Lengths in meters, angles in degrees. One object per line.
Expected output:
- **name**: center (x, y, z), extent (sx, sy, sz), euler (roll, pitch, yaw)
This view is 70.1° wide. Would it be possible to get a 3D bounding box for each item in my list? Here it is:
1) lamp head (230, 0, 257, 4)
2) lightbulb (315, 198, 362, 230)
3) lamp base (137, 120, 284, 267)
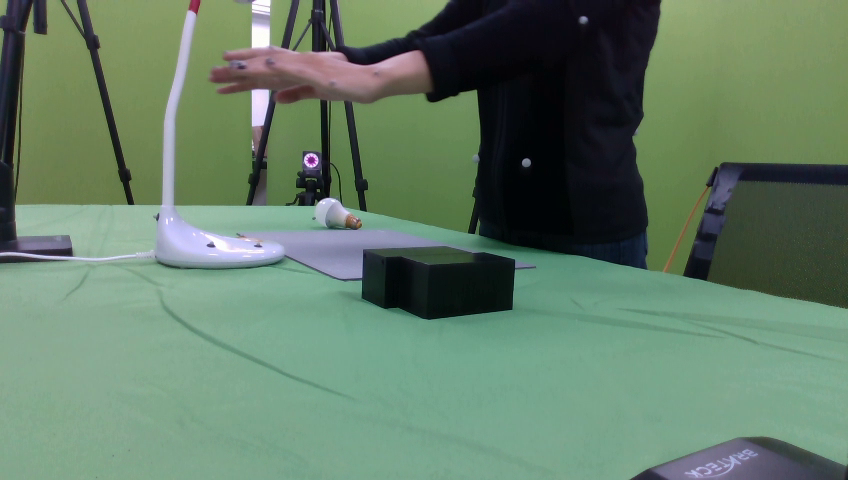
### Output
- **lamp head**: center (-0.257, -0.377, 0.773), extent (0.112, 0.112, 0.123), euler (5, -2, 26)
- **lightbulb**: center (-0.171, -0.048, 1.219), extent (0.107, 0.059, 0.060), euler (22, 15, 22)
- **lamp base**: center (-0.272, -0.061, 0.772), extent (0.180, 0.180, 0.160), euler (-7, 11, -40)
